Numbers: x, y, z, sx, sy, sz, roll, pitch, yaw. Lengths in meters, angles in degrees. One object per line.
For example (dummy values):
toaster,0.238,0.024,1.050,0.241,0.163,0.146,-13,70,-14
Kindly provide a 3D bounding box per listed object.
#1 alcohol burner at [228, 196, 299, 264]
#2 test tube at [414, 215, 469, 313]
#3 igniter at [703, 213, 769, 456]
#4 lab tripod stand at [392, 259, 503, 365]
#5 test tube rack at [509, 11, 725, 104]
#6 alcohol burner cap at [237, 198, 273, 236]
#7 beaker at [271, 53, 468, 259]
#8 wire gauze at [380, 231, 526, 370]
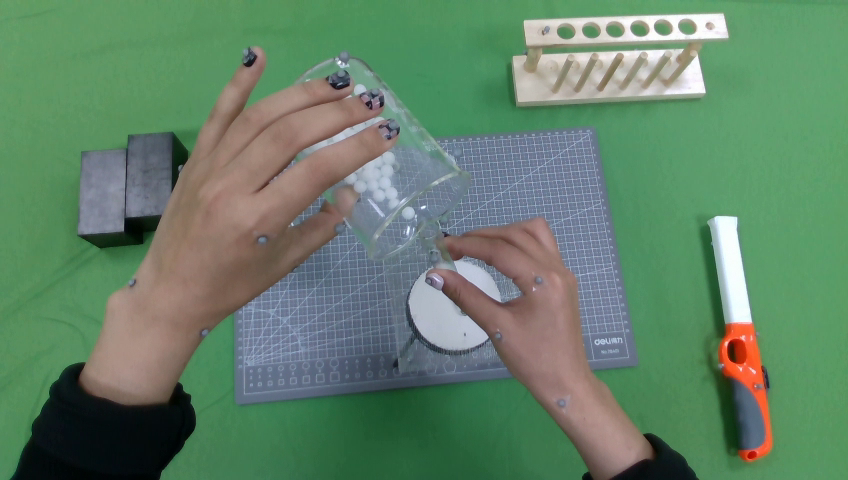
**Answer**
alcohol burner,-0.177,-0.016,0.655,0.078,0.119,0.077,0,72,-1
test tube,0.016,0.023,0.447,0.017,0.151,0.017,-5,63,11
igniter,0.356,0.102,0.694,0.057,0.025,0.275,2,75,-12
lab tripod stand,0.022,0.076,0.629,0.148,0.132,0.147,0,74,0
test tube rack,0.234,-0.224,0.748,0.242,0.085,0.066,-3,75,-3
alcohol burner cap,-0.175,-0.025,0.620,0.034,0.048,0.033,1,76,-6
beaker,-0.033,-0.050,0.353,0.074,0.084,0.100,-40,78,2
wire gauze,0.026,0.054,0.565,0.125,0.011,0.120,-6,74,-5
